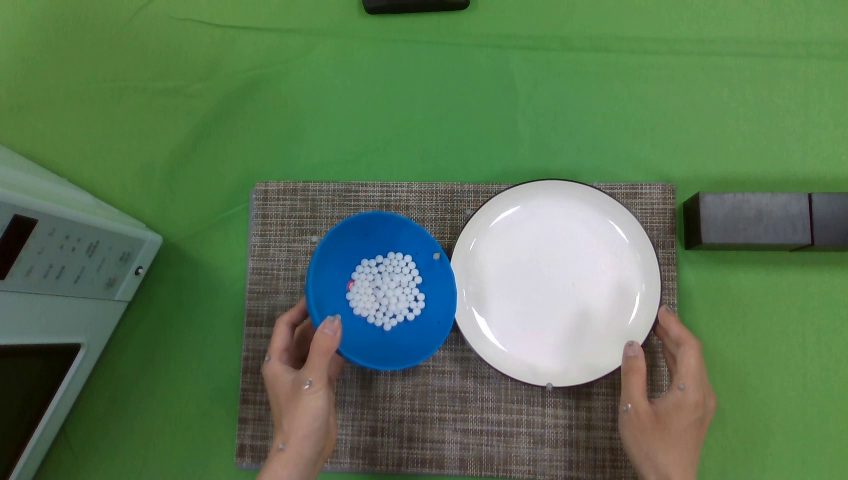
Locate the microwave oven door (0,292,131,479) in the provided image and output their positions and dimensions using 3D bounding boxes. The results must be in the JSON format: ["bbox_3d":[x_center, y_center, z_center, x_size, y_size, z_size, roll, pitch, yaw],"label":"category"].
[{"bbox_3d":[-0.423,0.197,0.525,0.039,0.245,0.355,27,86,10],"label":"microwave oven door"}]

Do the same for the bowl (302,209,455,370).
[{"bbox_3d":[-0.053,0.053,0.585,0.152,0.077,0.150,9,72,-27],"label":"bowl"}]

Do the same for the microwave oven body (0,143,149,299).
[{"bbox_3d":[-0.532,0.096,0.555,0.325,0.261,0.441,27,86,8],"label":"microwave oven body"}]

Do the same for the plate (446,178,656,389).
[{"bbox_3d":[0.123,0.043,0.609,0.207,0.039,0.207,-1,82,5],"label":"plate"}]

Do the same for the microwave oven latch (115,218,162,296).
[{"bbox_3d":[-0.310,0.019,0.641,0.030,0.029,0.079,29,87,8],"label":"microwave oven latch"}]
